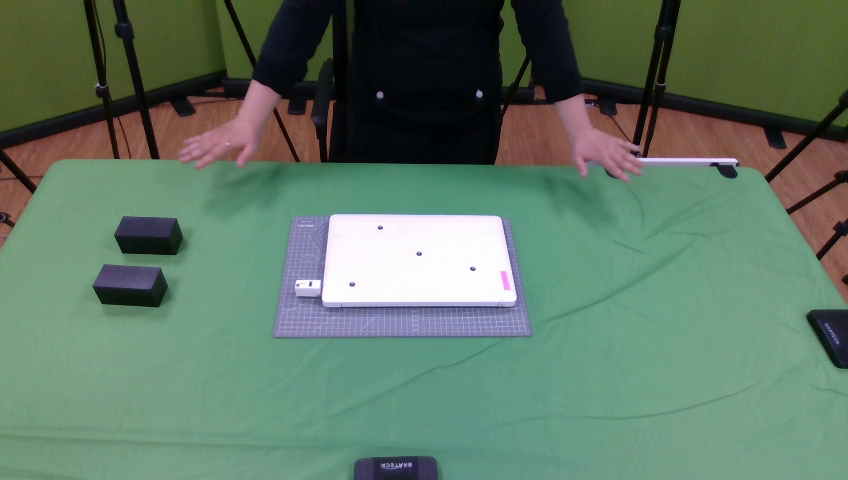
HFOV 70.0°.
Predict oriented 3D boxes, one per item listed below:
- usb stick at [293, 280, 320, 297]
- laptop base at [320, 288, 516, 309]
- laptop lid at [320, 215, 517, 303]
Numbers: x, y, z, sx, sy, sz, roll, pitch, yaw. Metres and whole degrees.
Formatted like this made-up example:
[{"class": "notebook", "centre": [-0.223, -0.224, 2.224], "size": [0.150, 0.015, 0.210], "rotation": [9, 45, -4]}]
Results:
[{"class": "usb stick", "centre": [-0.202, 0.087, 1.082], "size": [0.059, 0.027, 0.021], "rotation": [4, 45, -4]}, {"class": "laptop base", "centre": [-0.013, 0.040, 1.159], "size": [0.355, 0.023, 0.234], "rotation": [0, 43, -4]}, {"class": "laptop lid", "centre": [-0.012, 0.030, 1.153], "size": [0.357, 0.013, 0.240], "rotation": [2, 43, -3]}]
